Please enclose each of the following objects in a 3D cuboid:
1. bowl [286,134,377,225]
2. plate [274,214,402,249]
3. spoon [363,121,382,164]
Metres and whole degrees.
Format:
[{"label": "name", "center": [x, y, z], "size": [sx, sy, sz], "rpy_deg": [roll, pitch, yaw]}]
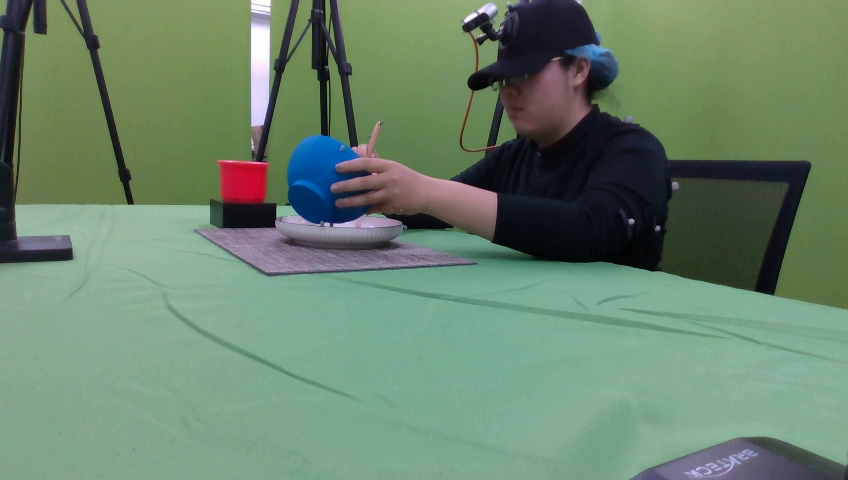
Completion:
[{"label": "bowl", "center": [-0.155, -0.076, 0.919], "size": [0.151, 0.152, 0.077], "rpy_deg": [6, 43, 31]}, {"label": "plate", "center": [-0.141, -0.015, 0.993], "size": [0.208, 0.039, 0.207], "rpy_deg": [3, 7, 0]}, {"label": "spoon", "center": [-0.106, -0.122, 1.005], "size": [0.022, 0.193, 0.041], "rpy_deg": [30, -28, -12]}]
